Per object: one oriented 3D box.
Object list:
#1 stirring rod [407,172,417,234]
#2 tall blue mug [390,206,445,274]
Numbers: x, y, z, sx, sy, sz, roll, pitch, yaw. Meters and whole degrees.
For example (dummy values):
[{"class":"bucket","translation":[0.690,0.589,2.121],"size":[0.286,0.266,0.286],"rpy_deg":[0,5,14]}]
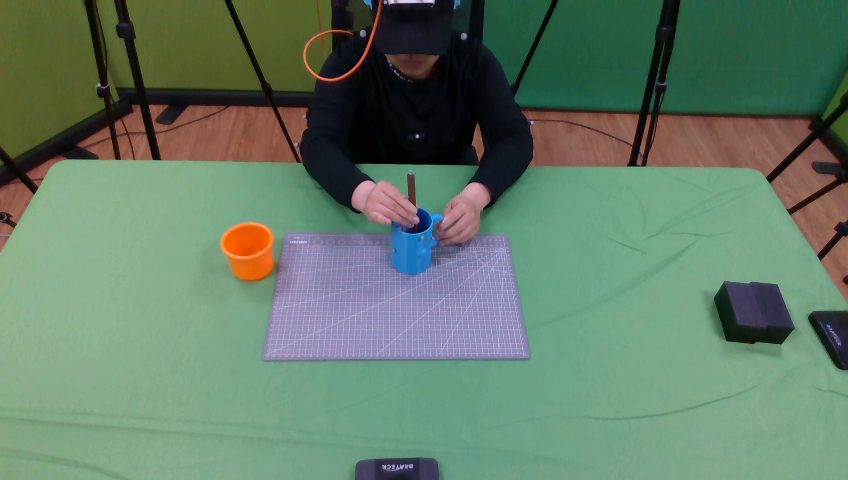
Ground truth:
[{"class":"stirring rod","translation":[-0.020,-0.043,1.078],"size":[0.014,0.177,0.006],"rpy_deg":[13,40,18]},{"class":"tall blue mug","translation":[-0.017,-0.008,1.142],"size":[0.077,0.108,0.107],"rpy_deg":[23,49,19]}]
